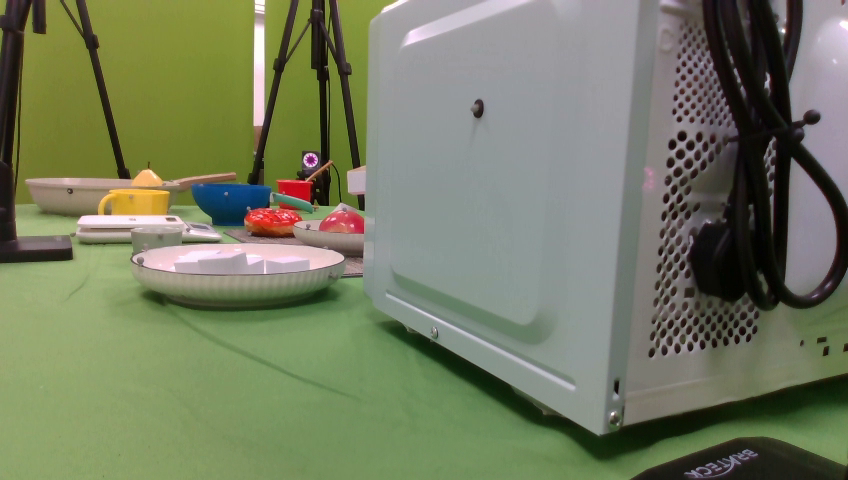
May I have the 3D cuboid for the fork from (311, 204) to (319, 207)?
[{"bbox_3d":[-0.356,-0.105,1.526,0.208,0.018,0.028,16,-5,-41],"label":"fork"}]

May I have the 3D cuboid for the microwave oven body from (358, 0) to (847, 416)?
[{"bbox_3d":[0.211,-0.047,0.475,0.444,0.260,0.324,-1,7,-28],"label":"microwave oven body"}]

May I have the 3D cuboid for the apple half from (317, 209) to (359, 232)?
[{"bbox_3d":[-0.122,-0.020,0.900,0.080,0.053,0.075,3,10,14],"label":"apple half"}]

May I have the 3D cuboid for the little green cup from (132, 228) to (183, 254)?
[{"bbox_3d":[-0.342,0.006,0.779,0.061,0.038,0.061,2,8,0],"label":"little green cup"}]

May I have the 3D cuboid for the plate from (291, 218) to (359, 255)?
[{"bbox_3d":[-0.098,-0.007,0.928,0.209,0.038,0.209,2,7,0],"label":"plate"}]

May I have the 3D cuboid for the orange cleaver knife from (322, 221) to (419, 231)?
[{"bbox_3d":[-0.097,-0.026,1.152,0.077,0.012,0.212,3,7,41],"label":"orange cleaver knife"}]

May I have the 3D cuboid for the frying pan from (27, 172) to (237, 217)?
[{"bbox_3d":[-0.624,-0.118,1.387,0.305,0.102,0.490,8,17,32],"label":"frying pan"}]

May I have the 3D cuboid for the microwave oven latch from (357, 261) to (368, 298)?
[{"bbox_3d":[-0.019,0.033,0.531,0.079,0.029,0.030,-1,7,-27],"label":"microwave oven latch"}]

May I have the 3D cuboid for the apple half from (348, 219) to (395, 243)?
[{"bbox_3d":[-0.083,-0.018,0.966,0.081,0.033,0.081,6,10,-1],"label":"apple half"}]

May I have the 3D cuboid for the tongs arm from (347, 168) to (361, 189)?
[{"bbox_3d":[-0.049,-0.141,1.112,0.028,0.028,0.388,-9,12,23],"label":"tongs arm"}]

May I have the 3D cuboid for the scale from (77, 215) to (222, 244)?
[{"bbox_3d":[-0.434,-0.019,0.963,0.202,0.031,0.148,-1,9,-27],"label":"scale"}]

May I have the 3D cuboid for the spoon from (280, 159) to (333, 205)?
[{"bbox_3d":[-0.317,-0.159,1.640,0.194,0.022,0.041,-49,32,-20],"label":"spoon"}]

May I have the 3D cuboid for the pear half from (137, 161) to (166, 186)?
[{"bbox_3d":[-0.602,-0.120,1.354,0.056,0.110,0.076,4,11,6],"label":"pear half"}]

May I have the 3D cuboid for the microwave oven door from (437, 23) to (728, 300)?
[{"bbox_3d":[0.180,-0.072,0.621,0.358,0.243,0.039,-2,8,-29],"label":"microwave oven door"}]

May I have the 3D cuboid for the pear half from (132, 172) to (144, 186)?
[{"bbox_3d":[-0.638,-0.113,1.361,0.031,0.088,0.070,5,11,4],"label":"pear half"}]

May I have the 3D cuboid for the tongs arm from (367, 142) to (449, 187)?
[{"bbox_3d":[-0.026,-0.143,1.104,0.050,0.026,0.386,-4,14,26],"label":"tongs arm"}]

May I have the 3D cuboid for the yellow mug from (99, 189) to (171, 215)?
[{"bbox_3d":[-0.519,-0.055,1.080,0.099,0.064,0.131,7,9,26],"label":"yellow mug"}]

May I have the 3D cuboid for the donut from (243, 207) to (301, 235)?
[{"bbox_3d":[-0.261,-0.032,1.043,0.099,0.048,0.099,4,9,0],"label":"donut"}]

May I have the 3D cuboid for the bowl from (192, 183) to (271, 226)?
[{"bbox_3d":[-0.382,-0.071,1.202,0.151,0.077,0.151,3,7,0],"label":"bowl"}]

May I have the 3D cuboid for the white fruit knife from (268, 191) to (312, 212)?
[{"bbox_3d":[-0.364,-0.105,1.464,0.208,0.027,0.016,15,0,-34],"label":"white fruit knife"}]

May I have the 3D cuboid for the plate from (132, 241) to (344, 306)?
[{"bbox_3d":[-0.187,0.033,0.625,0.208,0.039,0.207,2,8,0],"label":"plate"}]
